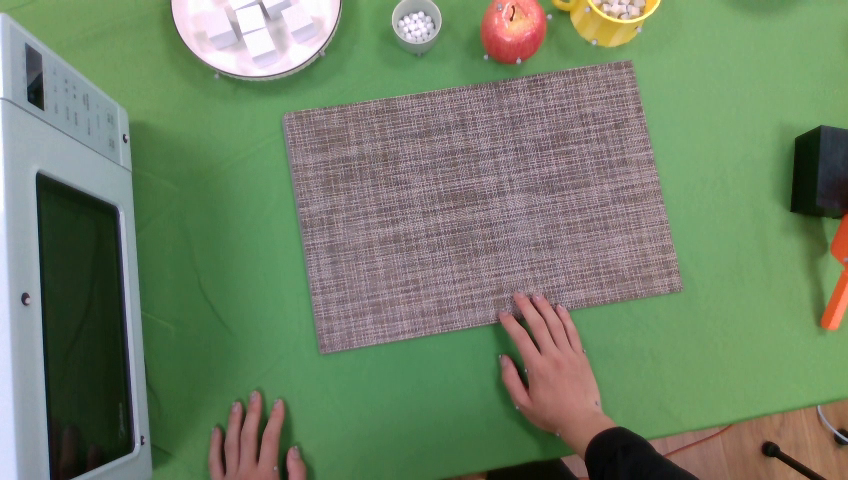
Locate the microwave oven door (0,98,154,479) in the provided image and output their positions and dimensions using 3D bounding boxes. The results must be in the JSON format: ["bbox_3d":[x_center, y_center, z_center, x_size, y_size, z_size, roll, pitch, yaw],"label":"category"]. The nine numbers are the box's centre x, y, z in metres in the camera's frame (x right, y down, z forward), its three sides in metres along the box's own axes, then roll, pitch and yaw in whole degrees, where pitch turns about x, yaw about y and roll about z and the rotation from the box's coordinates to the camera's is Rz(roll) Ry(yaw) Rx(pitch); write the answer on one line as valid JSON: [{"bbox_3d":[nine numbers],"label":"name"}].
[{"bbox_3d":[-0.338,0.074,0.583,0.039,0.244,0.354,-7,83,-3],"label":"microwave oven door"}]

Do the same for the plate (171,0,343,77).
[{"bbox_3d":[-0.204,-0.298,0.755,0.208,0.039,0.207,0,83,-2],"label":"plate"}]

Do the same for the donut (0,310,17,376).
[{"bbox_3d":[-0.470,0.108,0.617,0.099,0.048,0.099,0,84,-1],"label":"donut"}]

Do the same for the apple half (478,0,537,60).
[{"bbox_3d":[0.095,-0.256,0.745,0.053,0.074,0.081,-36,89,-2],"label":"apple half"}]

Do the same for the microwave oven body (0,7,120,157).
[{"bbox_3d":[-0.488,0.050,0.585,0.326,0.260,0.440,-7,84,-4],"label":"microwave oven body"}]

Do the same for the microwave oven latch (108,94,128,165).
[{"bbox_3d":[-0.366,-0.128,0.709,0.030,0.029,0.079,-5,84,-3],"label":"microwave oven latch"}]

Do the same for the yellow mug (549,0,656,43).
[{"bbox_3d":[0.221,-0.308,0.760,0.131,0.064,0.099,1,83,-1],"label":"yellow mug"}]

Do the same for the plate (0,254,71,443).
[{"bbox_3d":[-0.472,0.114,0.630,0.209,0.038,0.208,0,83,-3],"label":"plate"}]

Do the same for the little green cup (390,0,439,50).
[{"bbox_3d":[-0.012,-0.271,0.760,0.061,0.039,0.061,0,83,-2],"label":"little green cup"}]

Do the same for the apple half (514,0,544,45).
[{"bbox_3d":[0.126,-0.279,0.748,0.033,0.081,0.081,-37,85,-2],"label":"apple half"}]

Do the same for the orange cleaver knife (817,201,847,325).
[{"bbox_3d":[0.510,0.000,0.722,0.012,0.076,0.212,10,114,1],"label":"orange cleaver knife"}]
